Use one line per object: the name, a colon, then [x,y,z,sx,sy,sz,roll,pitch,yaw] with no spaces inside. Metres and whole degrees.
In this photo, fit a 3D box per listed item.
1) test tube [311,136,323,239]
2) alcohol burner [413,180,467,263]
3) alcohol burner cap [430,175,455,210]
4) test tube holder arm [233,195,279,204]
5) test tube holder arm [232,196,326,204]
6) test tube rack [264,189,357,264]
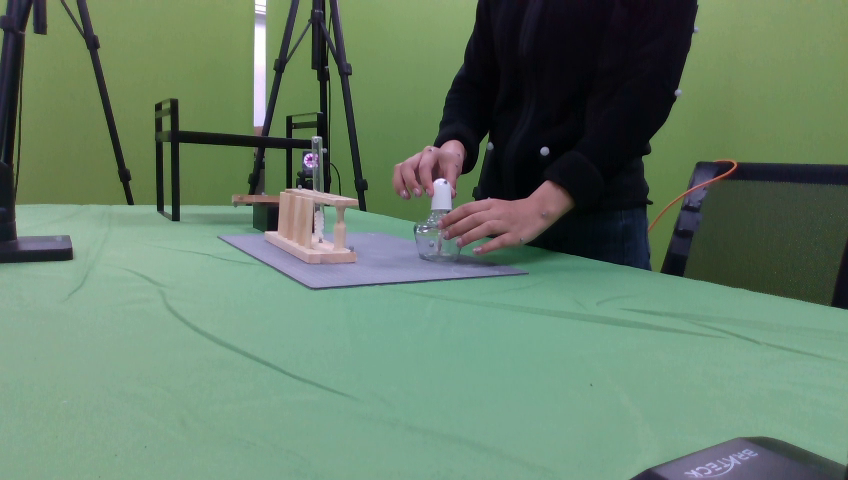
test tube: [-0.155,-0.076,0.878,0.017,0.150,0.017,0,7,0]
alcohol burner: [0.023,-0.028,0.864,0.078,0.119,0.078,2,6,0]
alcohol burner cap: [0.029,-0.069,0.866,0.034,0.048,0.034,13,21,-5]
test tube holder arm: [-0.307,-0.075,1.117,0.088,0.015,0.010,-1,1,-31]
test tube holder arm: [-0.271,-0.076,1.145,0.179,0.015,0.013,-1,1,-32]
test tube rack: [-0.174,-0.027,0.890,0.067,0.085,0.241,-1,8,-28]
